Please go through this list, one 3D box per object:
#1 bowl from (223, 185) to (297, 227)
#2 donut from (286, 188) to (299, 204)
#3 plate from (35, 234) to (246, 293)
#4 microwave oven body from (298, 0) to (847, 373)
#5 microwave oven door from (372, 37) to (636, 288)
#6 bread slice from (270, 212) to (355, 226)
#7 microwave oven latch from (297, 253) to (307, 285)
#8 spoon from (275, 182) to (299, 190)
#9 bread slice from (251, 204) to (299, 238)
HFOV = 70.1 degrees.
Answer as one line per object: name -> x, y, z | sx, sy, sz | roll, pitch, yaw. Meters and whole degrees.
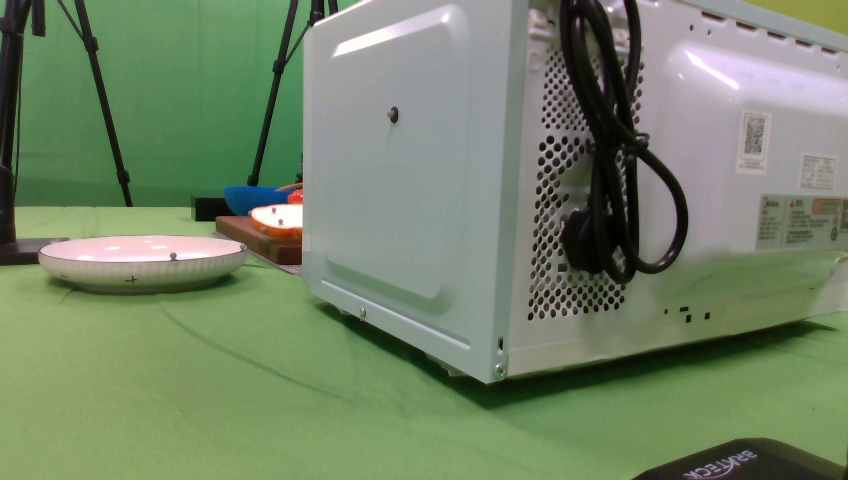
bowl -> -0.330, -0.068, 1.230 | 0.151, 0.077, 0.151 | 3, 8, 0
donut -> -0.190, -0.068, 1.055 | 0.099, 0.048, 0.099 | 3, 7, 0
plate -> -0.305, 0.026, 0.668 | 0.208, 0.039, 0.207 | 3, 7, 0
microwave oven body -> 0.151, -0.055, 0.542 | 0.444, 0.260, 0.324 | -2, 7, -33
microwave oven door -> 0.110, -0.080, 0.687 | 0.358, 0.243, 0.039 | -2, 9, -33
bread slice -> -0.198, -0.038, 1.051 | 0.132, 0.019, 0.104 | 0, 6, -31
microwave oven latch -> -0.082, 0.027, 0.582 | 0.079, 0.029, 0.030 | -1, 7, -32
spoon -> -0.300, -0.103, 1.266 | 0.194, 0.021, 0.041 | -23, 10, -24
bread slice -> -0.169, -0.027, 0.839 | 0.135, 0.018, 0.106 | -8, 24, -43
